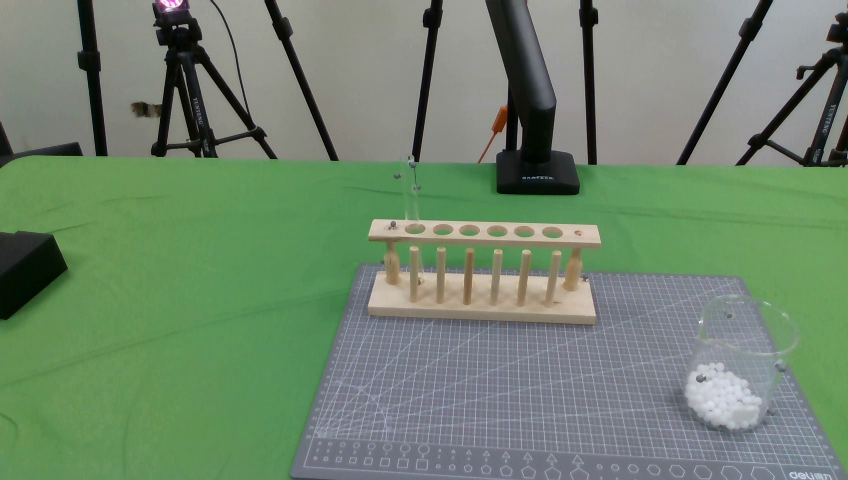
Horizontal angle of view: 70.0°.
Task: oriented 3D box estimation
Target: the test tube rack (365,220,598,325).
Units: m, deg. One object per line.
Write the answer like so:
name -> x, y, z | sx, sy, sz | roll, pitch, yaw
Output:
test tube rack -> 0.059, 0.034, 0.652 | 0.242, 0.086, 0.066 | 2, 34, 5

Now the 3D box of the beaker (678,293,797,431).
beaker -> 0.261, 0.108, 0.521 | 0.084, 0.101, 0.073 | -9, 34, -9

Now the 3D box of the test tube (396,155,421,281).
test tube -> -0.015, -0.020, 0.646 | 0.017, 0.151, 0.017 | -3, 32, 2
